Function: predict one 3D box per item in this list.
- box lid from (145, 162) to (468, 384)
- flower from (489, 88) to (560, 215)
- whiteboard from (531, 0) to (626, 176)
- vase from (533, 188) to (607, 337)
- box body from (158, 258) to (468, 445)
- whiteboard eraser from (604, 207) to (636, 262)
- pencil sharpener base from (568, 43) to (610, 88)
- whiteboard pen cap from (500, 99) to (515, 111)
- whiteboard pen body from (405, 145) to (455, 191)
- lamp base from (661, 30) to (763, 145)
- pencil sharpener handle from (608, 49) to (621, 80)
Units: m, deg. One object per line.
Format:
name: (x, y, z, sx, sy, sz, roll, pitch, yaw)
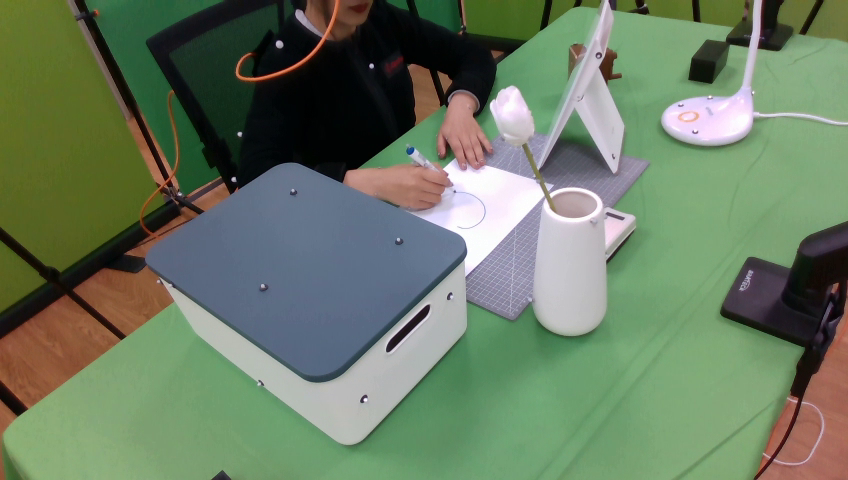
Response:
box lid: (-0.157, 0.014, 0.769, 0.368, 0.015, 0.264, 25, 51, 33)
flower: (0.158, -0.028, 0.720, 0.038, 0.364, 0.044, -14, 44, 23)
whiteboard: (0.320, -0.259, 1.050, 0.144, 0.306, 0.217, 22, 45, 6)
vase: (0.187, 0.033, 0.771, 0.098, 0.201, 0.097, -6, 41, 6)
box body: (-0.147, 0.072, 0.816, 0.361, 0.161, 0.255, 24, 50, 33)
whiteboard eraser: (0.272, -0.003, 0.919, 0.055, 0.042, 0.113, 27, 51, 32)
pencil sharpener base: (0.345, -0.352, 1.263, 0.077, 0.107, 0.061, -9, 40, 1)
whiteboard pen cap: (0.177, -0.287, 1.290, 0.033, 0.018, 0.018, -37, 47, -26)
whiteboard pen body: (0.015, -0.120, 1.038, 0.017, 0.142, 0.017, -21, 52, 29)
lamp base: (0.535, -0.287, 1.096, 0.179, 0.181, 0.159, -10, 40, -4)
pencil sharpener handle: (0.394, -0.367, 1.253, 0.030, 0.068, 0.036, -8, 32, 1)
